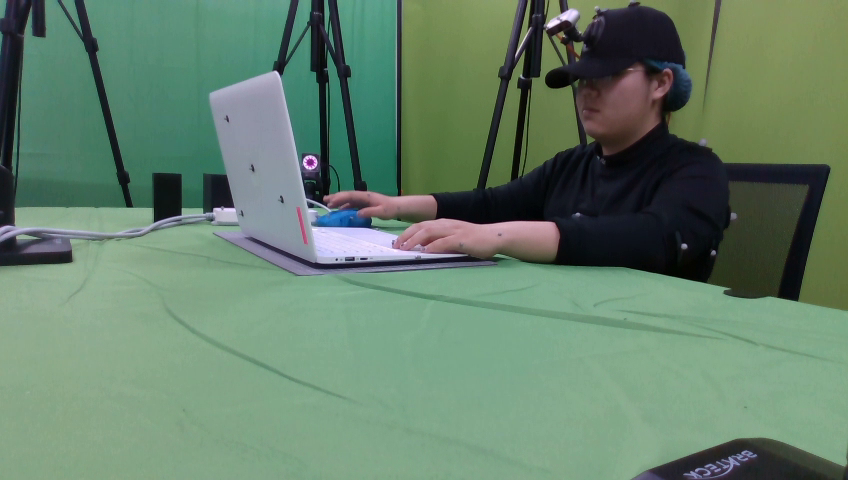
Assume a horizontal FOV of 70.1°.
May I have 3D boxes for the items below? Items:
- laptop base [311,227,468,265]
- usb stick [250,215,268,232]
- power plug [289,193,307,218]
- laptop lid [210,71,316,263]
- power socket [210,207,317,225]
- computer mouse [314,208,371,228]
[{"bbox_3d":[-0.123,0.007,0.952,0.237,0.023,0.352,2,6,-32],"label":"laptop base"},{"bbox_3d":[-0.290,-0.028,1.069,0.021,0.027,0.059,0,11,-30],"label":"usb stick"},{"bbox_3d":[-0.281,-0.076,1.341,0.035,0.052,0.072,3,7,-17],"label":"power plug"},{"bbox_3d":[-0.241,-0.104,0.861,0.013,0.241,0.355,-16,17,-29],"label":"laptop lid"},{"bbox_3d":[-0.334,-0.051,1.281,0.228,0.032,0.072,-1,8,-28],"label":"power socket"},{"bbox_3d":[-0.173,-0.046,1.284,0.118,0.041,0.062,-7,13,-29],"label":"computer mouse"}]
